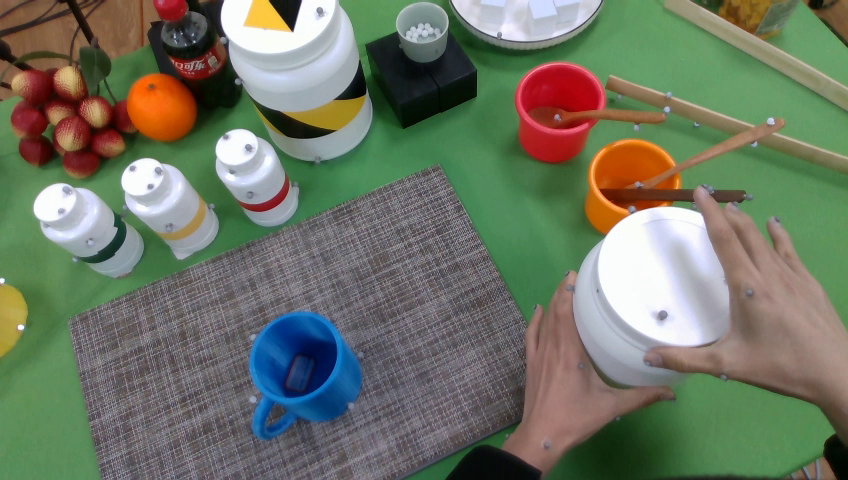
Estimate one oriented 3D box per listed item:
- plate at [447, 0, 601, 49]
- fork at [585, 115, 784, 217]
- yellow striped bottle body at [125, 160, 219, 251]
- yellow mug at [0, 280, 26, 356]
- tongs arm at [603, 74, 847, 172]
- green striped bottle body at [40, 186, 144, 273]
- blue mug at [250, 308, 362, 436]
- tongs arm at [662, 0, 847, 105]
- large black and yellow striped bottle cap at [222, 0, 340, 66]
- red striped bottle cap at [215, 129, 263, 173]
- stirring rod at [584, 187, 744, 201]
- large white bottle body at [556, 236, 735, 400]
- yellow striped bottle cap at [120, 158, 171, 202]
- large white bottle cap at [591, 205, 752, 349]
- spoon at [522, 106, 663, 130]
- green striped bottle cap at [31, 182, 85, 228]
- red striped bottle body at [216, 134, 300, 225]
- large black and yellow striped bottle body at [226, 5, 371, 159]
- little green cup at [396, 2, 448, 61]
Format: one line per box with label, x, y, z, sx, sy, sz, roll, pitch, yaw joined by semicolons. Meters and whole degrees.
plate;0.130;-0.331;0.799;0.209;0.038;0.207;-1;67;3
fork;0.256;-0.072;0.616;0.207;0.019;0.028;-30;56;39
yellow striped bottle body;-0.273;-0.040;0.651;0.063;0.121;0.062;-2;65;4
yellow mug;-0.489;0.092;0.637;0.100;0.064;0.129;-15;67;-3
tongs arm;0.398;-0.132;0.696;0.383;0.027;0.050;25;67;13
green striped bottle body;-0.356;-0.014;0.646;0.063;0.120;0.062;-1;66;3
blue mug;-0.117;0.133;0.570;0.082;0.106;0.116;30;72;17
tongs arm;0.449;-0.201;0.725;0.385;0.028;0.028;41;68;18
large black and yellow striped bottle cap;-0.141;-0.224;0.595;0.115;0.019;0.114;-2;69;5
red striped bottle cap;-0.187;-0.091;0.611;0.044;0.018;0.044;0;63;0
stirring rod;0.235;-0.047;0.613;0.175;0.006;0.014;7;52;53
large white bottle body;0.194;0.063;0.541;0.130;0.186;0.129;-2;65;4
yellow striped bottle cap;-0.277;-0.060;0.604;0.044;0.019;0.044;0;61;1
large white bottle cap;0.187;0.026;0.460;0.115;0.018;0.114;-2;64;4
spoon;0.174;-0.134;0.652;0.041;0.192;0.022;-41;115;-17
green striped bottle cap;-0.361;-0.035;0.598;0.044;0.020;0.044;0;65;1
red striped bottle body;-0.182;-0.069;0.659;0.063;0.120;0.062;-2;66;6
large black and yellow striped bottle body;-0.136;-0.189;0.674;0.131;0.185;0.130;-1;66;3
little green cup;-0.002;-0.244;0.713;0.061;0.039;0.061;-1;63;2
